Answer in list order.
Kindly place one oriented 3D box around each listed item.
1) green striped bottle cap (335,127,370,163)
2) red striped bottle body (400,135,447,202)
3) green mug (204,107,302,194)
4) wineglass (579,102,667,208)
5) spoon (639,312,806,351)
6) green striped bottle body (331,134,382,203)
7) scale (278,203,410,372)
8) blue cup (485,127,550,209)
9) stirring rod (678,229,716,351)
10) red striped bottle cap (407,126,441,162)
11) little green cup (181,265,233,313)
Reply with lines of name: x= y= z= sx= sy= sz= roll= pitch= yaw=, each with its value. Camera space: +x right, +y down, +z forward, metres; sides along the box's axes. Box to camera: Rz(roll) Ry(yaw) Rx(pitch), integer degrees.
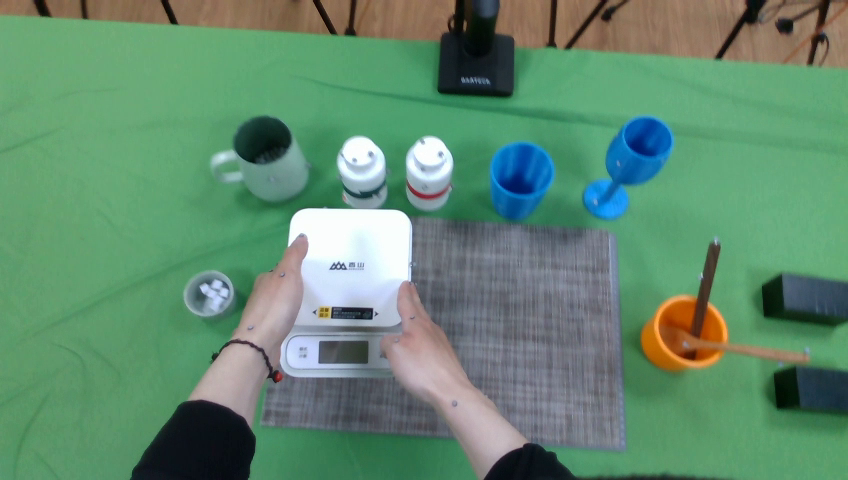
green striped bottle cap: x=-0.092 y=-0.122 z=0.774 sx=0.044 sy=0.020 sz=0.044 roll=1 pitch=69 yaw=-2
red striped bottle body: x=-0.002 y=-0.105 z=0.826 sx=0.063 sy=0.120 sz=0.062 roll=1 pitch=69 yaw=-2
green mug: x=-0.236 y=-0.117 z=0.831 sx=0.125 sy=0.105 sz=0.092 roll=-17 pitch=71 yaw=-7
wineglass: x=0.260 y=-0.108 z=0.806 sx=0.074 sy=0.173 sz=0.073 roll=0 pitch=69 yaw=-1
spoon: x=0.355 y=0.117 z=0.739 sx=0.022 sy=0.192 sz=0.041 roll=29 pitch=73 yaw=-37
green striped bottle body: x=-0.091 y=-0.103 z=0.823 sx=0.063 sy=0.120 sz=0.062 roll=1 pitch=69 yaw=-1
scale: x=-0.093 y=0.052 z=0.711 sx=0.148 sy=0.032 sz=0.199 roll=0 pitch=72 yaw=3
blue cup: x=0.122 y=-0.089 z=0.834 sx=0.092 sy=0.101 sz=0.092 roll=0 pitch=69 yaw=1
stirring rod: x=0.340 y=0.067 z=0.757 sx=0.014 sy=0.177 sz=0.006 roll=8 pitch=28 yaw=16
red striped bottle cap: x=0.000 y=-0.124 z=0.777 sx=0.044 sy=0.018 sz=0.044 roll=0 pitch=71 yaw=-1
little green cup: x=-0.282 y=0.067 z=0.797 sx=0.061 sy=0.039 sz=0.061 roll=1 pitch=71 yaw=-3
